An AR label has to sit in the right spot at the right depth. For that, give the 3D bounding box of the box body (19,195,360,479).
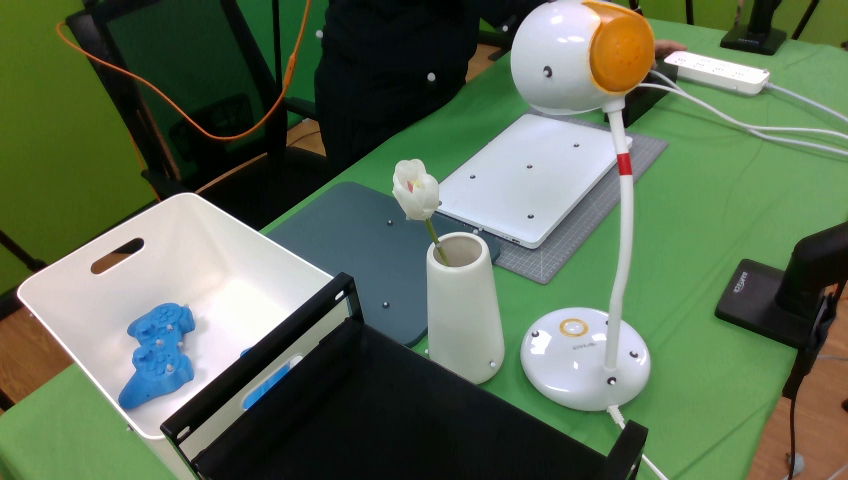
[{"bbox_3d":[-0.288,0.118,0.772,0.361,0.161,0.255,26,50,33],"label":"box body"}]

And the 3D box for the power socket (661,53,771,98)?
[{"bbox_3d":[0.617,-0.355,1.291,0.225,0.033,0.072,29,53,35],"label":"power socket"}]

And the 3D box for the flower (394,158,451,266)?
[{"bbox_3d":[0.028,0.035,0.664,0.043,0.364,0.038,36,73,30],"label":"flower"}]

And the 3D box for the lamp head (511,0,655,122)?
[{"bbox_3d":[0.155,-0.168,0.563,0.113,0.113,0.122,-18,23,-12],"label":"lamp head"}]

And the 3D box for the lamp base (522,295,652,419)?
[{"bbox_3d":[0.201,0.095,0.710,0.161,0.181,0.177,-16,43,-10],"label":"lamp base"}]

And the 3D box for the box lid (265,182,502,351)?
[{"bbox_3d":[-0.087,0.023,0.971,0.368,0.015,0.264,23,49,31],"label":"box lid"}]

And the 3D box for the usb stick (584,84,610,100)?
[{"bbox_3d":[0.353,-0.305,1.252,0.027,0.021,0.058,-1,0,-40],"label":"usb stick"}]

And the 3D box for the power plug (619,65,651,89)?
[{"bbox_3d":[0.437,-0.338,1.264,0.035,0.053,0.072,-1,24,-11],"label":"power plug"}]

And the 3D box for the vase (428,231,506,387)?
[{"bbox_3d":[0.050,0.087,0.728,0.098,0.201,0.097,-3,40,3],"label":"vase"}]

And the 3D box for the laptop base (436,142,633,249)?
[{"bbox_3d":[0.193,-0.116,1.087,0.233,0.023,0.355,21,47,34],"label":"laptop base"}]

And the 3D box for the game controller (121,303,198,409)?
[{"bbox_3d":[-0.364,0.149,0.828,0.097,0.052,0.154,-13,41,-9],"label":"game controller"}]

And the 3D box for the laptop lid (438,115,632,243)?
[{"bbox_3d":[0.189,-0.126,1.081,0.239,0.013,0.358,23,48,34],"label":"laptop lid"}]

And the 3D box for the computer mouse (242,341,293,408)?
[{"bbox_3d":[-0.200,0.178,0.776,0.063,0.041,0.116,-11,43,-8],"label":"computer mouse"}]
